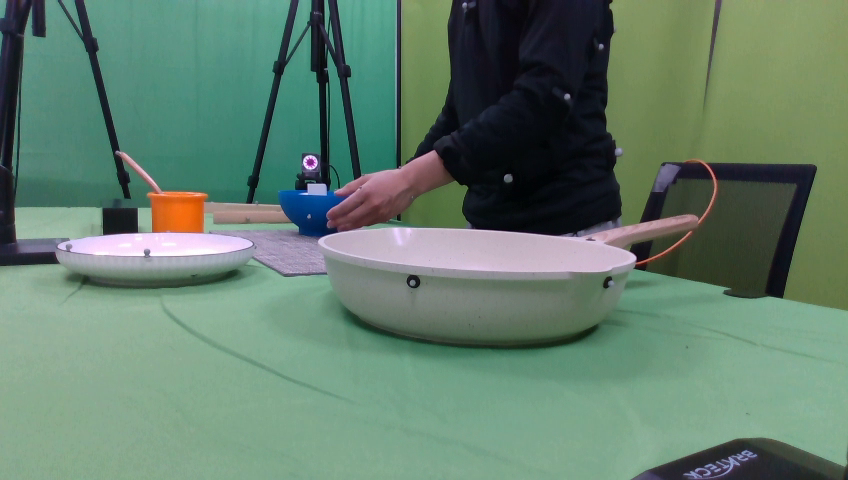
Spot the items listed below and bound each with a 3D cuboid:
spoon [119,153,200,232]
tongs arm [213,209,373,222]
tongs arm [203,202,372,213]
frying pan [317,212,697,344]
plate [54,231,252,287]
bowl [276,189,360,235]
[{"bbox_3d":[-0.439,-0.077,1.000,0.021,0.193,0.042,-43,-7,21],"label":"spoon"},{"bbox_3d":[-0.275,-0.055,1.347,0.390,0.028,0.028,-2,6,-36],"label":"tongs arm"},{"bbox_3d":[-0.311,-0.069,1.417,0.387,0.026,0.050,1,8,-24],"label":"tongs arm"},{"bbox_3d":[0.133,0.013,0.629,0.490,0.102,0.305,-12,14,-31],"label":"frying pan"},{"bbox_3d":[-0.309,0.020,0.705,0.208,0.039,0.207,3,7,0],"label":"plate"},{"bbox_3d":[-0.195,-0.051,1.114,0.151,0.077,0.151,2,7,0],"label":"bowl"}]
